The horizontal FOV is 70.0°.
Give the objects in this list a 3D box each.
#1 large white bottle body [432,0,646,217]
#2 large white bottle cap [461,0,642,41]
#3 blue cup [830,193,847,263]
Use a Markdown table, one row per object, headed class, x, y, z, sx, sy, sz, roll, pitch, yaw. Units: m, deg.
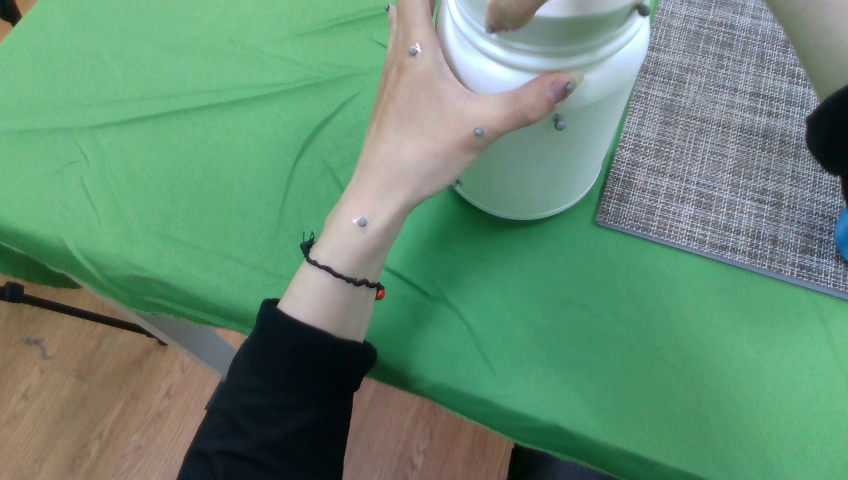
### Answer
| class | x | y | z | sx | sy | sz | roll | pitch | yaw |
| --- | --- | --- | --- | --- | --- | --- | --- | --- | --- |
| large white bottle body | 0.071 | -0.112 | 0.413 | 0.130 | 0.186 | 0.129 | -1 | 64 | 2 |
| large white bottle cap | 0.067 | -0.157 | 0.325 | 0.115 | 0.018 | 0.114 | 1 | 67 | -1 |
| blue cup | 0.326 | -0.022 | 0.402 | 0.092 | 0.101 | 0.092 | -1 | 63 | 3 |
